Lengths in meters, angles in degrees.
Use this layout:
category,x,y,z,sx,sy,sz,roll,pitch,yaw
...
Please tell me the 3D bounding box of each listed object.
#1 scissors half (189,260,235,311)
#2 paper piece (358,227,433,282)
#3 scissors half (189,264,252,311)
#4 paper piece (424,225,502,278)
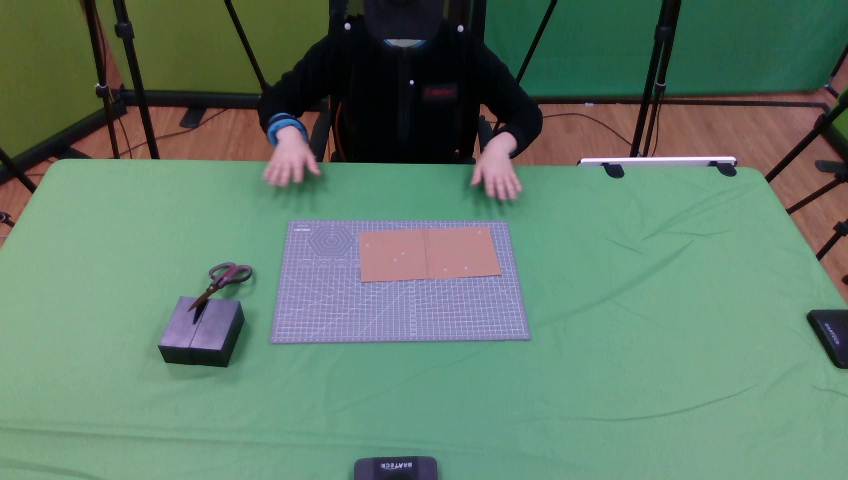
category,x,y,z,sx,sy,sz,roll,pitch,yaw
scissors half,-0.372,0.077,1.056,0.040,0.013,0.174,13,25,-4
paper piece,-0.058,0.025,1.173,0.136,0.004,0.134,-3,48,-6
scissors half,-0.352,0.082,1.055,0.040,0.013,0.175,15,26,14
paper piece,0.074,0.020,1.190,0.138,0.009,0.135,-2,50,-7
